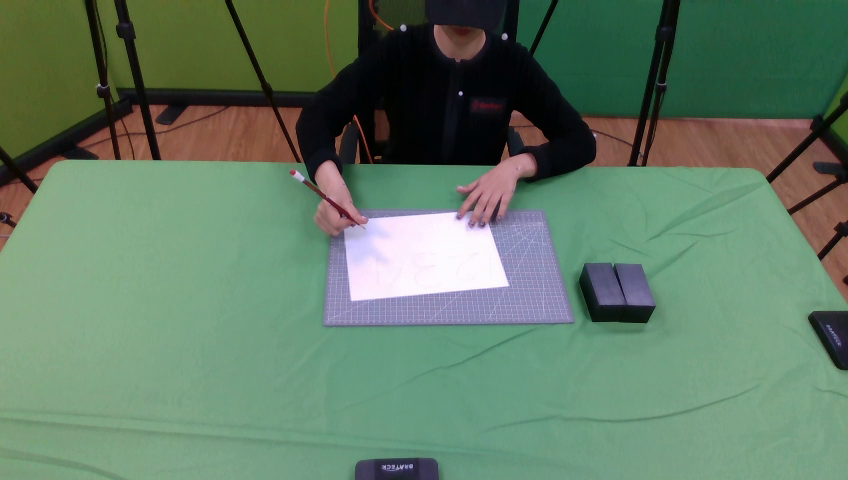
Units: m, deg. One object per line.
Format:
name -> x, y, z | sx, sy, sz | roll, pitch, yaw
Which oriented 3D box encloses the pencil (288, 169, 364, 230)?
pencil -> -0.176, -0.071, 1.118 | 0.012, 0.195, 0.012 | -27, 42, 27
